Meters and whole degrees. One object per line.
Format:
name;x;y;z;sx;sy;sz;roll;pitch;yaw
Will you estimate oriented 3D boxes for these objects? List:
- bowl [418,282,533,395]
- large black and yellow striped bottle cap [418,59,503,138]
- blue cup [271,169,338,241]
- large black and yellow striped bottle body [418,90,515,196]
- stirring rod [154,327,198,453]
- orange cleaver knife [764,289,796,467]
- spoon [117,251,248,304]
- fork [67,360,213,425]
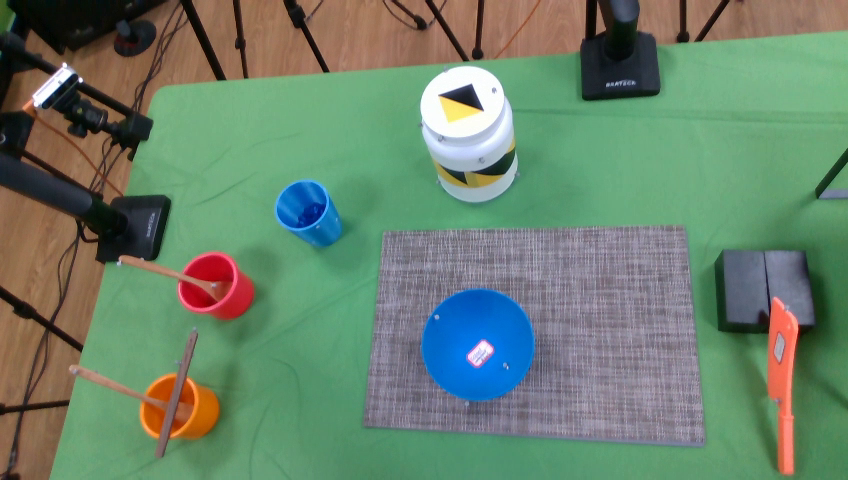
bowl;0.074;0.140;0.823;0.151;0.077;0.150;-4;68;11
large black and yellow striped bottle cap;0.048;-0.192;0.815;0.115;0.019;0.114;-5;68;12
blue cup;-0.177;-0.043;0.941;0.092;0.101;0.092;-3;69;9
large black and yellow striped bottle body;0.064;-0.160;0.892;0.130;0.185;0.130;-4;67;10
stirring rod;-0.347;0.207;0.848;0.014;0.006;0.175;5;70;12
orange cleaver knife;0.431;0.167;0.738;0.012;0.077;0.211;-3;98;7
spoon;-0.364;0.052;0.921;0.195;0.021;0.041;24;67;-25
fork;-0.398;0.216;0.858;0.209;0.018;0.028;31;82;-24
